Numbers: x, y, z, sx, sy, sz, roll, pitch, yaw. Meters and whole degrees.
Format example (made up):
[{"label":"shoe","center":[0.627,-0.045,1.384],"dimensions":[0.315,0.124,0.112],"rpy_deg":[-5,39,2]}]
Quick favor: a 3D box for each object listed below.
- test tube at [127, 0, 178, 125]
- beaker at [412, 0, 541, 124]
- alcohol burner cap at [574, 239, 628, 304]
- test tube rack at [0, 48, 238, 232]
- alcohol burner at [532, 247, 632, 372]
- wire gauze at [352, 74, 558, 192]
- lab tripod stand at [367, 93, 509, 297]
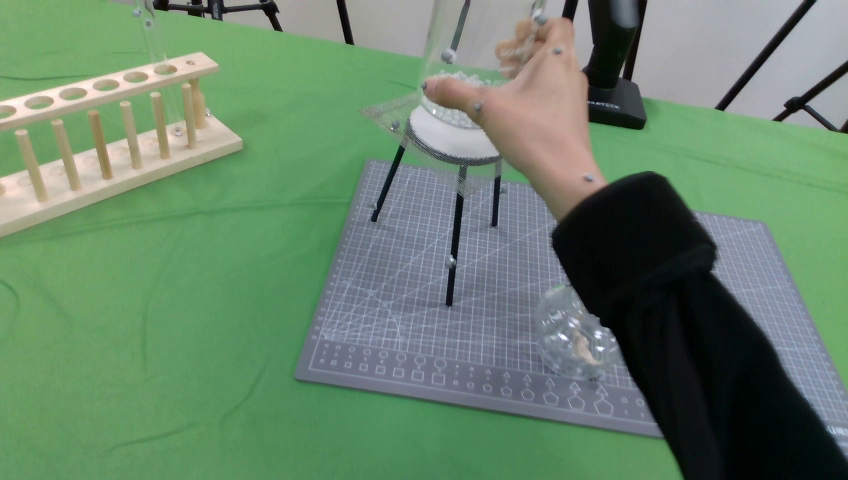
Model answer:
[{"label":"test tube","center":[-0.262,-0.176,0.585],"dimensions":[0.017,0.151,0.017],"rpy_deg":[2,45,-2]},{"label":"beaker","center":[0.032,-0.135,0.403],"dimensions":[0.084,0.101,0.073],"rpy_deg":[-28,58,-35]},{"label":"alcohol burner cap","center":[0.130,0.021,0.438],"dimensions":[0.034,0.048,0.033],"rpy_deg":[2,47,-1]},{"label":"test tube rack","center":[-0.303,-0.101,0.569],"dimensions":[0.066,0.086,0.242],"rpy_deg":[38,49,27]},{"label":"alcohol burner","center":[0.125,0.046,0.463],"dimensions":[0.078,0.120,0.077],"rpy_deg":[7,42,-6]},{"label":"wire gauze","center":[0.025,-0.095,0.484],"dimensions":[0.121,0.011,0.124],"rpy_deg":[-31,57,-35]},{"label":"lab tripod stand","center":[0.019,-0.046,0.529],"dimensions":[0.148,0.132,0.147],"rpy_deg":[7,43,-6]}]
